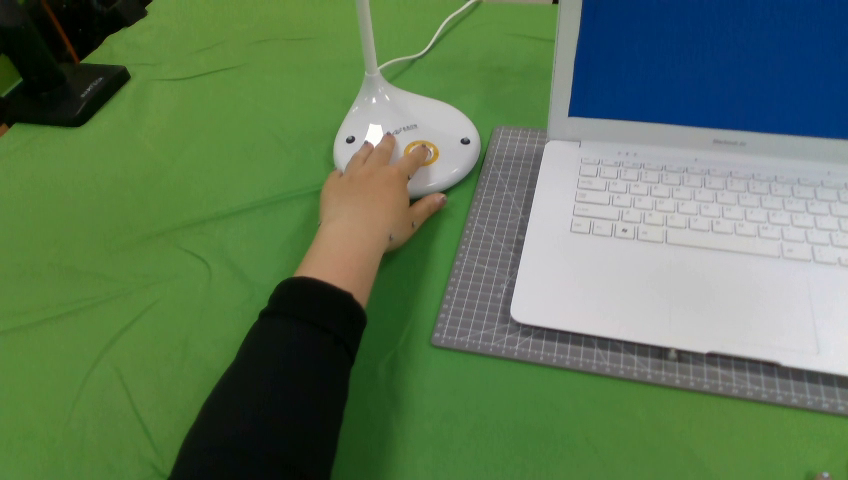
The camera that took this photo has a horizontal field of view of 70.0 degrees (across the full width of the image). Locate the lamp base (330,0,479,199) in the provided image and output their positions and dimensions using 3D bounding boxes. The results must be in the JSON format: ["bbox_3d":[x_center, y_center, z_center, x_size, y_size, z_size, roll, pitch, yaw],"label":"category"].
[{"bbox_3d":[-0.036,-0.160,0.605,0.160,0.182,0.177,-31,49,-20],"label":"lamp base"}]

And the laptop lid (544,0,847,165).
[{"bbox_3d":[0.289,-0.171,0.524,0.355,0.244,0.013,6,41,14],"label":"laptop lid"}]

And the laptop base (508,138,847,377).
[{"bbox_3d":[0.265,0.007,0.526,0.353,0.023,0.234,7,52,13],"label":"laptop base"}]
